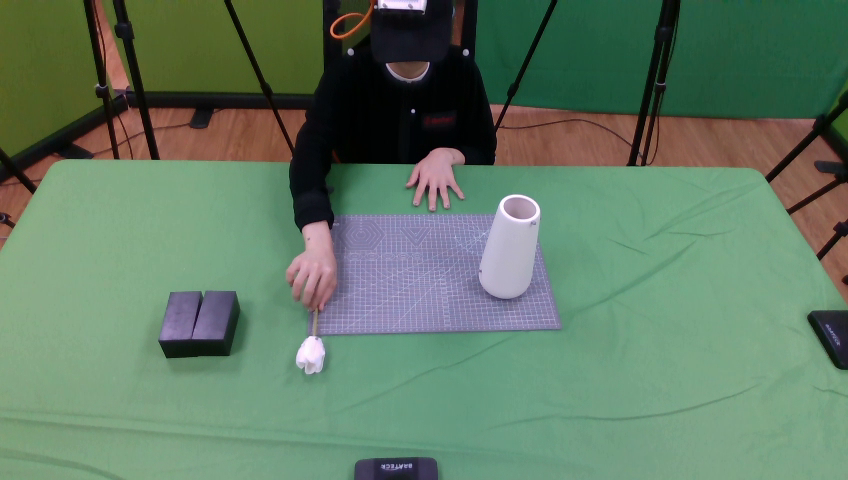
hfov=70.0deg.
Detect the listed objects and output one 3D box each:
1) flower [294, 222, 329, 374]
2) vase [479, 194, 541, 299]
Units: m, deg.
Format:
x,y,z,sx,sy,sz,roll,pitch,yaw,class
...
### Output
x,y,z,sx,sy,sz,roll,pitch,yaw,class
-0.192,0.086,1.102,0.044,0.038,0.359,26,36,-23,flower
0.152,0.015,1.066,0.098,0.201,0.097,1,47,-1,vase
